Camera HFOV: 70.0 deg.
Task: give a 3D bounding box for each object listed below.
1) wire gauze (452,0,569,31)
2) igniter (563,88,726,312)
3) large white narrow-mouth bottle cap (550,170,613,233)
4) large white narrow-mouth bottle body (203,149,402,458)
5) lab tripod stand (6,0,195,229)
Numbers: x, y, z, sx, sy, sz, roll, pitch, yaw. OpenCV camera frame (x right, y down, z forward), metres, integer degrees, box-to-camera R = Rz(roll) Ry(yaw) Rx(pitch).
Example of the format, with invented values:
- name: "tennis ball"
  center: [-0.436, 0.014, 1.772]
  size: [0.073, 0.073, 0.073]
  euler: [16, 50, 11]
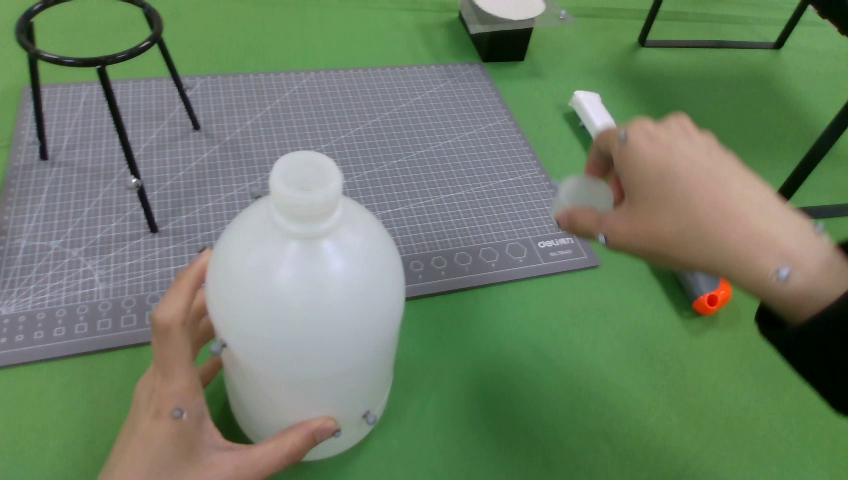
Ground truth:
- name: "wire gauze"
  center: [0.084, -0.271, 0.677]
  size: [0.122, 0.011, 0.123]
  euler: [-6, 51, -17]
- name: "igniter"
  center: [0.195, -0.049, 0.556]
  size: [0.057, 0.025, 0.273]
  euler: [1, 49, -24]
- name: "large white narrow-mouth bottle cap"
  center: [0.100, -0.024, 0.386]
  size: [0.038, 0.024, 0.037]
  euler: [5, 49, -5]
- name: "large white narrow-mouth bottle body"
  center: [-0.063, 0.035, 0.325]
  size: [0.102, 0.196, 0.101]
  euler: [5, 48, -5]
- name: "lab tripod stand"
  center: [-0.231, -0.101, 0.448]
  size: [0.149, 0.132, 0.147]
  euler: [7, 49, -7]
